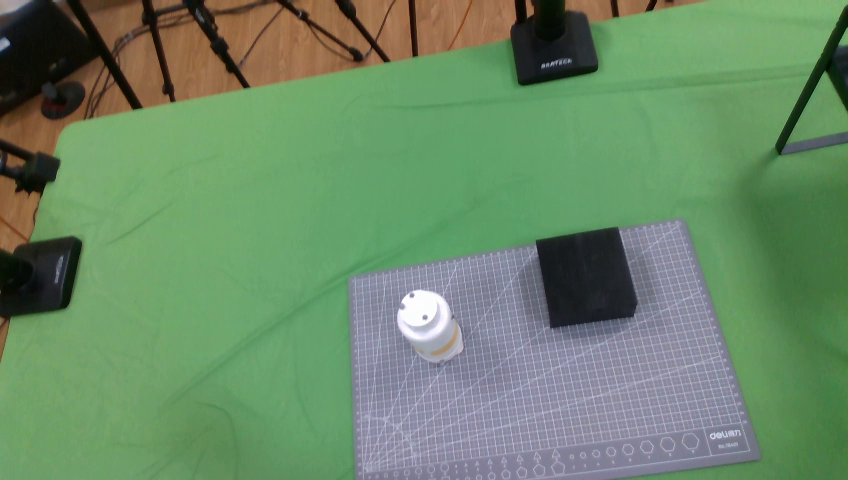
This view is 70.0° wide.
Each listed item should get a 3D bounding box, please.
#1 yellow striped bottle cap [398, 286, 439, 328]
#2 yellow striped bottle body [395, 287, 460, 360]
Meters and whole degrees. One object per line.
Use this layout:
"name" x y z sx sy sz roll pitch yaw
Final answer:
"yellow striped bottle cap" -0.007 0.074 0.673 0.044 0.019 0.044 -6 65 13
"yellow striped bottle body" 0.004 0.097 0.719 0.063 0.121 0.062 -5 64 10
